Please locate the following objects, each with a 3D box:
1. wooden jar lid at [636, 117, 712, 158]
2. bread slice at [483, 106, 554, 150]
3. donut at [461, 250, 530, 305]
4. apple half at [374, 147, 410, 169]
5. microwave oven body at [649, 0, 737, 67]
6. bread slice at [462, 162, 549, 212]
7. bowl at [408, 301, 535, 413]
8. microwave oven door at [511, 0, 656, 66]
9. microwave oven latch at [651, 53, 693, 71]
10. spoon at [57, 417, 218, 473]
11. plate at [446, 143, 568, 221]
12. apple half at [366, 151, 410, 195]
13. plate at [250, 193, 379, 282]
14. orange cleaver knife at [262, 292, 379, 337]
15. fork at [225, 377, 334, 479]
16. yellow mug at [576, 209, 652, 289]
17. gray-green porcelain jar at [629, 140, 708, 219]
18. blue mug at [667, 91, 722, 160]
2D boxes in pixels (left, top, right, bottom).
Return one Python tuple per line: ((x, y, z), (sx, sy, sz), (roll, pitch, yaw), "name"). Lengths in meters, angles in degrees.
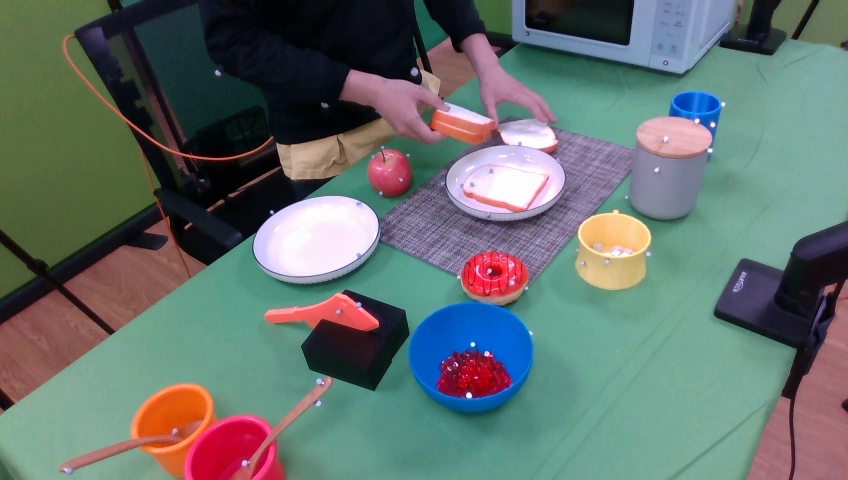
((0.377, -0.151, 0.917), (0.108, 0.021, 0.108), (-2, 42, 2), "wooden jar lid")
((0.185, -0.203, 1.161), (0.105, 0.019, 0.130), (-23, 44, -5), "bread slice")
((0.103, 0.053, 0.872), (0.099, 0.048, 0.098), (-4, 40, 4), "donut")
((-0.052, -0.139, 1.100), (0.081, 0.082, 0.033), (17, 52, 26), "apple half")
((0.475, -0.602, 1.411), (0.438, 0.261, 0.327), (23, 50, 32), "microwave oven body")
((0.135, -0.094, 1.045), (0.133, 0.018, 0.107), (16, 45, 22), "bread slice")
((0.060, 0.156, 0.739), (0.151, 0.077, 0.150), (-4, 40, 4), "bowl")
((0.351, -0.540, 1.349), (0.353, 0.245, 0.039), (24, 50, 31), "microwave oven door")
((0.532, -0.386, 1.301), (0.078, 0.029, 0.030), (27, 52, 34), "microwave oven latch")
((-0.304, 0.221, 0.661), (0.041, 0.195, 0.021), (20, 93, 27), "spoon")
((0.143, -0.097, 1.045), (0.207, 0.039, 0.206), (-4, 40, 4), "plate")
((-0.070, -0.114, 1.075), (0.080, 0.075, 0.053), (17, 51, 23), "apple half")
((-0.174, -0.001, 0.984), (0.209, 0.038, 0.208), (-3, 40, 3), "plate")
((-0.145, 0.107, 0.821), (0.210, 0.077, 0.012), (-13, 36, 43), "orange cleaver knife")
((-0.163, 0.216, 0.646), (0.207, 0.019, 0.028), (-49, 42, 16), "fork")
((0.279, 0.004, 0.893), (0.099, 0.064, 0.130), (6, 42, 14), "yellow mug")
((0.383, -0.105, 0.958), (0.106, 0.127, 0.105), (-4, 41, 4), "gray-green porcelain jar")
((0.474, -0.207, 1.079), (0.082, 0.106, 0.116), (4, 42, 13), "blue mug")
